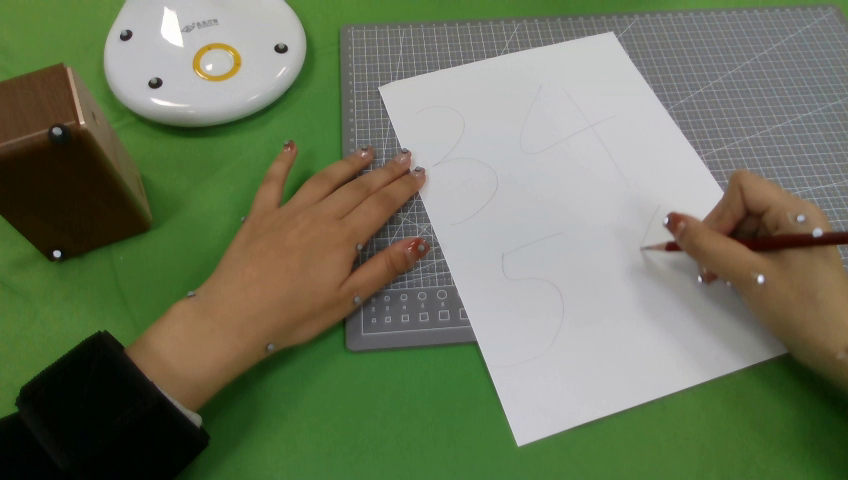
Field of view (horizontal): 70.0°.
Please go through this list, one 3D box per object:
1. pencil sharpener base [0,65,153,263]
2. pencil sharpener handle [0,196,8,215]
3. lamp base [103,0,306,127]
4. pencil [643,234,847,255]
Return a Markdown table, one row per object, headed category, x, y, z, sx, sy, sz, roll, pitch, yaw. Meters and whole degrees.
| category | x | y | z | sx | sy | sz | roll | pitch | yaw |
| --- | --- | --- | --- | --- | --- | --- | --- | --- | --- |
| pencil sharpener base | -0.231 | -0.043 | 0.381 | 0.077 | 0.108 | 0.061 | -22 | 62 | -13 |
| pencil sharpener handle | -0.278 | -0.031 | 0.359 | 0.031 | 0.068 | 0.035 | -22 | 64 | -13 |
| lamp base | -0.184 | -0.203 | 0.435 | 0.160 | 0.182 | 0.177 | -32 | 62 | -18 |
| pencil | 0.210 | 0.002 | 0.341 | 0.193 | 0.012 | 0.012 | -5 | 43 | 51 |
